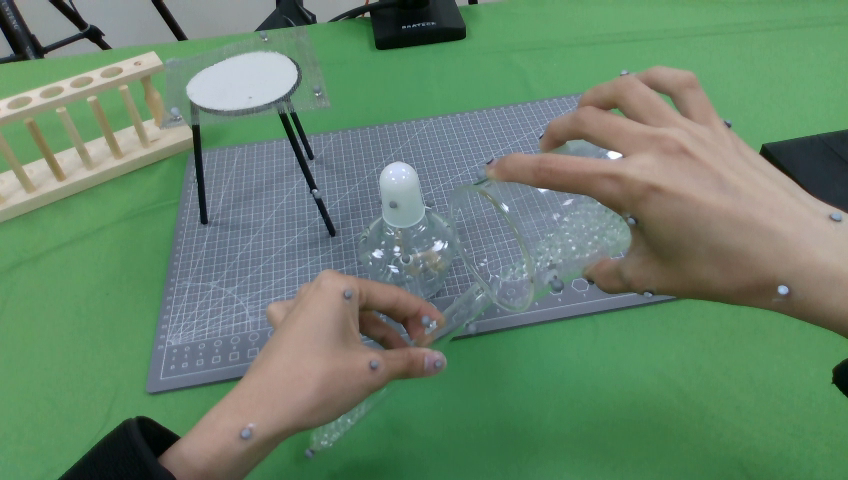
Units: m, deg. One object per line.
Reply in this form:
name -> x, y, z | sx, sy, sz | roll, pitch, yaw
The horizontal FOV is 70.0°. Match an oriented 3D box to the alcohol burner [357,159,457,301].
alcohol burner -> -0.014, -0.010, 0.460 | 0.078, 0.120, 0.077 | -2, 43, 3

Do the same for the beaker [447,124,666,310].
beaker -> 0.075, -0.015, 0.336 | 0.100, 0.085, 0.073 | -26, 56, -20

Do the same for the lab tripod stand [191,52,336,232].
lab tripod stand -> -0.140, -0.082, 0.529 | 0.148, 0.133, 0.147 | -3, 47, 3

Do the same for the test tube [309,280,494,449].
test tube -> -0.016, 0.078, 0.366 | 0.150, 0.017, 0.017 | -43, 47, 12

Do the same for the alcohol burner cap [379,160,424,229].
alcohol burner cap -> -0.018, -0.035, 0.435 | 0.034, 0.048, 0.033 | -4, 46, 4

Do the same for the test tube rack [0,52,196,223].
test tube rack -> -0.364, -0.099, 0.605 | 0.242, 0.086, 0.066 | -27, 49, -21

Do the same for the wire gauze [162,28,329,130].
wire gauze -> -0.145, -0.129, 0.481 | 0.125, 0.011, 0.120 | -14, 46, -7
